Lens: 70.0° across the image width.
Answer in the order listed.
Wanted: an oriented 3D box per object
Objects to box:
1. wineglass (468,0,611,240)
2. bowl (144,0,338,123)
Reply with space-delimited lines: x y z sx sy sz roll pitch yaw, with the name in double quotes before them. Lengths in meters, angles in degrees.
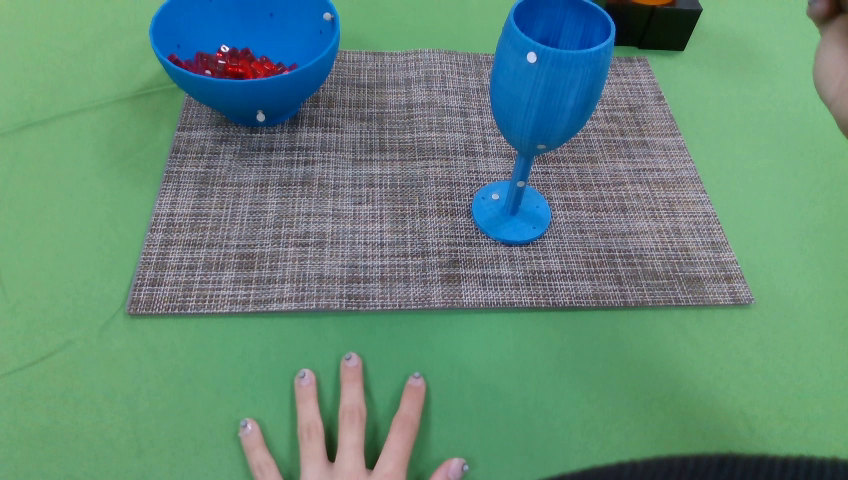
"wineglass" 0.072 -0.078 0.419 0.074 0.173 0.073 2 53 -3
"bowl" -0.148 -0.154 0.517 0.151 0.077 0.150 3 53 -3
